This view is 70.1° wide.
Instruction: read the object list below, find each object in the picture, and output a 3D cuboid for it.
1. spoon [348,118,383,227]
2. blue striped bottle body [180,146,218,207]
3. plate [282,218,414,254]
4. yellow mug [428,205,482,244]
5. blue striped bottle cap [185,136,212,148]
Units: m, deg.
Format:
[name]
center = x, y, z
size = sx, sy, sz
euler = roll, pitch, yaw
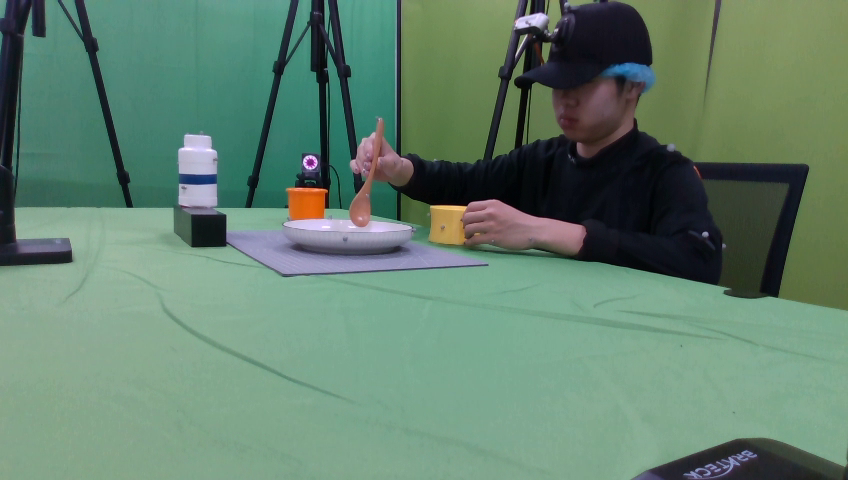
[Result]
[spoon]
center = -0.094, -0.116, 1.032
size = 0.042, 0.193, 0.021
euler = 17, -5, -32
[blue striped bottle body]
center = -0.392, -0.118, 1.053
size = 0.063, 0.120, 0.063
euler = 2, 8, 0
[plate]
center = -0.121, -0.007, 0.971
size = 0.208, 0.039, 0.207
euler = 2, 7, 0
[yellow mug]
center = 0.063, -0.028, 1.111
size = 0.100, 0.064, 0.130
euler = 0, 8, -22
[blue striped bottle cap]
center = -0.390, -0.169, 1.047
size = 0.044, 0.020, 0.044
euler = 4, 9, 0
